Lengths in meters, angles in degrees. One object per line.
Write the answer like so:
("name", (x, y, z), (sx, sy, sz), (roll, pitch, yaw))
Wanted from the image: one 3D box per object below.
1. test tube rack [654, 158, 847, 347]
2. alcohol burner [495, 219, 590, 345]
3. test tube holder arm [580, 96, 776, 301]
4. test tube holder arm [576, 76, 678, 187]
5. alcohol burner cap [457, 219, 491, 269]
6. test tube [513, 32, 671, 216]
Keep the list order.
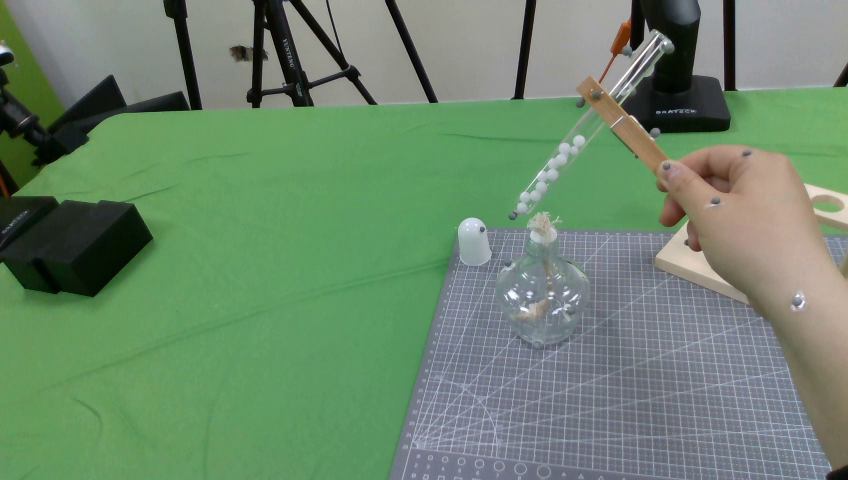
("test tube rack", (0.312, 0.019, 0.472), (0.240, 0.086, 0.066), (26, 52, 36))
("alcohol burner", (0.095, 0.029, 0.487), (0.078, 0.120, 0.077), (-5, 41, 5))
("test tube holder arm", (0.161, -0.036, 0.394), (0.015, 0.013, 0.177), (-42, 72, 21))
("test tube holder arm", (0.133, -0.071, 0.399), (0.087, 0.015, 0.010), (52, 21, 9))
("alcohol burner cap", (0.047, 0.001, 0.588), (0.034, 0.048, 0.033), (-5, 41, 5))
("test tube", (0.111, -0.075, 0.416), (0.017, 0.150, 0.017), (32, 23, -14))
